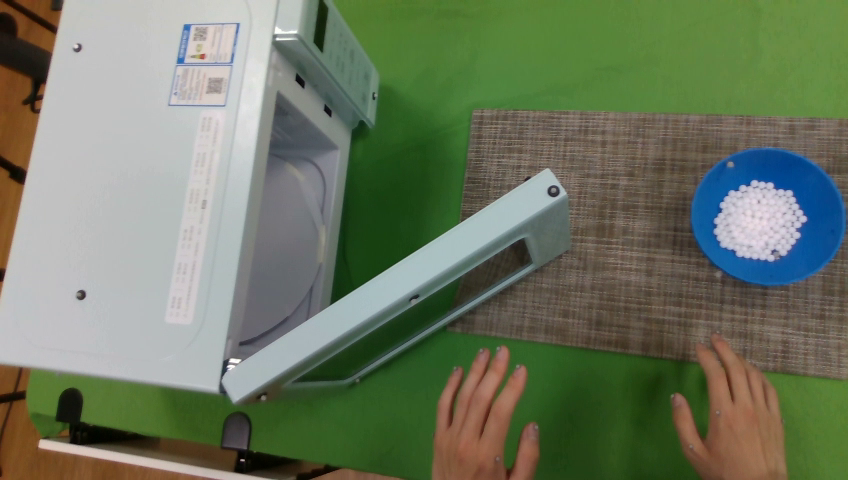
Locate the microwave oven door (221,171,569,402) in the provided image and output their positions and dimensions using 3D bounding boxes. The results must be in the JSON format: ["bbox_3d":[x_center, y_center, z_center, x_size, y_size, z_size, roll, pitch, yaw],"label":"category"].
[{"bbox_3d":[-0.008,0.064,0.646,0.356,0.245,0.039,-33,73,5],"label":"microwave oven door"}]

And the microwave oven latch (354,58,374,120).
[{"bbox_3d":[-0.085,-0.205,0.821,0.030,0.029,0.079,3,81,13],"label":"microwave oven latch"}]

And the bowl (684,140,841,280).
[{"bbox_3d":[0.364,-0.026,0.674,0.151,0.077,0.150,-3,79,13],"label":"bowl"}]

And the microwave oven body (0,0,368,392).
[{"bbox_3d":[-0.269,-0.058,0.735,0.325,0.262,0.440,3,81,13],"label":"microwave oven body"}]
